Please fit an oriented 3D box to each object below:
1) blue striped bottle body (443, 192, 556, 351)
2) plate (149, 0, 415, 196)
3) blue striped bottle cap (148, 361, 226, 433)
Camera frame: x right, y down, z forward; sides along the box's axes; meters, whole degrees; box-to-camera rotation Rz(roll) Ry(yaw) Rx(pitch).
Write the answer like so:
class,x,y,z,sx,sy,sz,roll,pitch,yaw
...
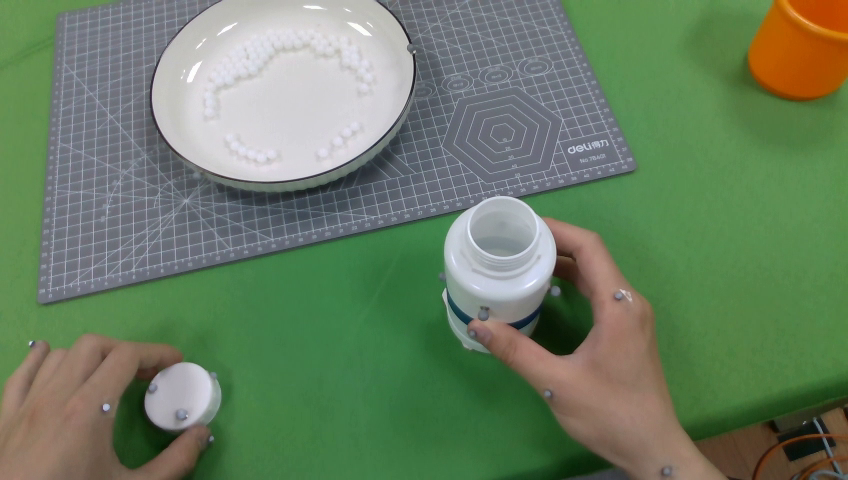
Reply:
class,x,y,z,sx,sy,sz,roll,pitch,yaw
blue striped bottle body,0.044,0.019,0.364,0.063,0.122,0.062,-1,62,3
plate,-0.109,-0.120,0.487,0.207,0.039,0.206,-1,63,2
blue striped bottle cap,-0.153,0.101,0.392,0.044,0.021,0.044,-1,66,4
